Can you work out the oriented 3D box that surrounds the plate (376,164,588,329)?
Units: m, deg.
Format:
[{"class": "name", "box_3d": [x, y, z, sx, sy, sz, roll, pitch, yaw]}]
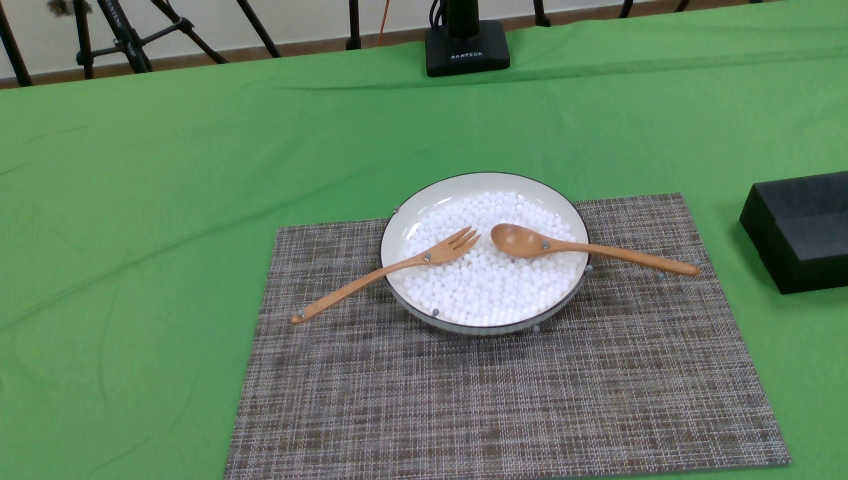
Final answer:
[{"class": "plate", "box_3d": [0.057, 0.005, 0.609, 0.209, 0.038, 0.207, -4, 49, 5]}]

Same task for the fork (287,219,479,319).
[{"class": "fork", "box_3d": [-0.035, 0.026, 0.584, 0.208, 0.019, 0.028, -24, 50, -23]}]

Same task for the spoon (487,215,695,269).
[{"class": "spoon", "box_3d": [0.152, 0.004, 0.573, 0.192, 0.022, 0.041, 10, 47, 26]}]
